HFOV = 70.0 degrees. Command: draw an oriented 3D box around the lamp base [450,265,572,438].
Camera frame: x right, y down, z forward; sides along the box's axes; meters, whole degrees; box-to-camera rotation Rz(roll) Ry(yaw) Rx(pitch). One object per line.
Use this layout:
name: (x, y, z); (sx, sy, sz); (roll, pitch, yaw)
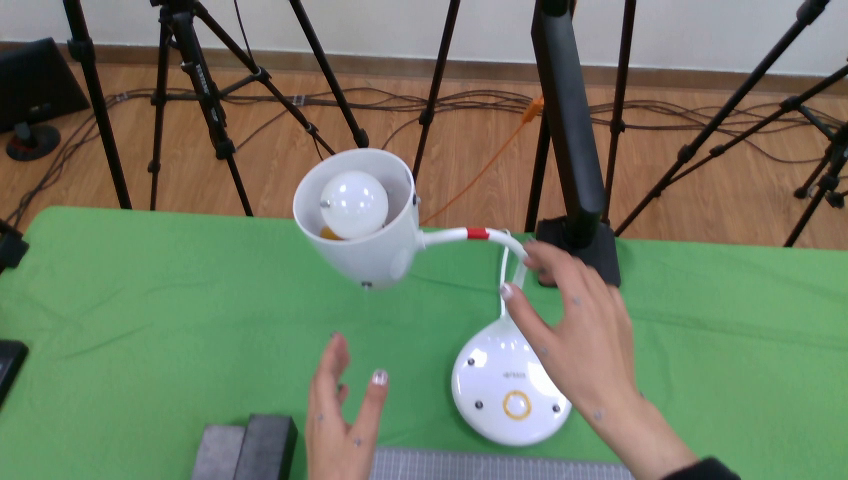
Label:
lamp base: (0.112, 0.128, 0.748); (0.161, 0.182, 0.177); (-8, 51, -6)

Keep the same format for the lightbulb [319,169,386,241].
lightbulb: (-0.059, -0.020, 0.558); (0.059, 0.109, 0.059); (-5, 58, 8)

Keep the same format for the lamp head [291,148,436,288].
lamp head: (-0.050, -0.011, 0.580); (0.112, 0.124, 0.111); (-9, 53, 13)
